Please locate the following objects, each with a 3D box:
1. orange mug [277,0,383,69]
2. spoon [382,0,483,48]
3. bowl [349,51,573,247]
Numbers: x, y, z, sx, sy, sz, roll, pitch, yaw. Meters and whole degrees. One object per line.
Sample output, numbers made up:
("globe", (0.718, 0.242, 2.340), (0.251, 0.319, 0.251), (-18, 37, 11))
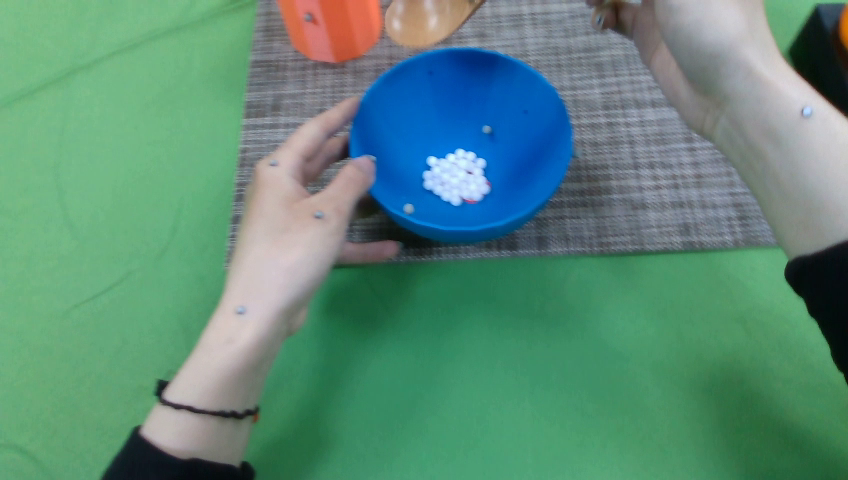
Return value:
("orange mug", (-0.080, -0.228, 0.521), (0.083, 0.101, 0.125), (8, 69, 8))
("spoon", (0.060, -0.157, 0.340), (0.193, 0.022, 0.041), (-16, 75, 29))
("bowl", (0.027, -0.052, 0.438), (0.151, 0.077, 0.150), (-1, 63, 3))
